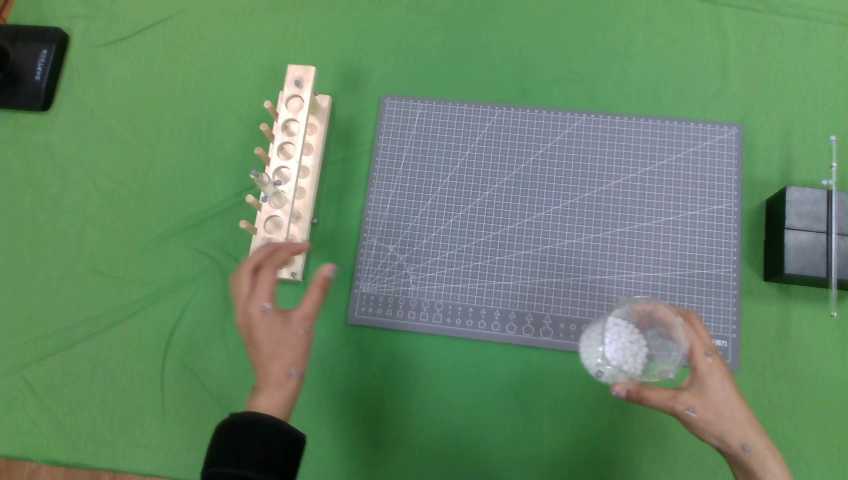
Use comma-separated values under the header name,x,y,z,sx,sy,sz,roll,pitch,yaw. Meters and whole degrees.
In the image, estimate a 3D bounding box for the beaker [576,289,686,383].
name,x,y,z,sx,sy,sz,roll,pitch,yaw
beaker,0.185,0.097,0.566,0.084,0.101,0.073,-30,75,-9

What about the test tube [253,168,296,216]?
name,x,y,z,sx,sy,sz,roll,pitch,yaw
test tube,-0.161,-0.050,0.667,0.017,0.150,0.017,0,79,-1

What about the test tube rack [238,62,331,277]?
name,x,y,z,sx,sy,sz,roll,pitch,yaw
test tube rack,-0.172,-0.084,0.727,0.066,0.085,0.241,6,78,6

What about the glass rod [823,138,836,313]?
name,x,y,z,sx,sy,sz,roll,pitch,yaw
glass rod,0.442,-0.018,0.660,0.008,0.008,0.199,9,78,6
